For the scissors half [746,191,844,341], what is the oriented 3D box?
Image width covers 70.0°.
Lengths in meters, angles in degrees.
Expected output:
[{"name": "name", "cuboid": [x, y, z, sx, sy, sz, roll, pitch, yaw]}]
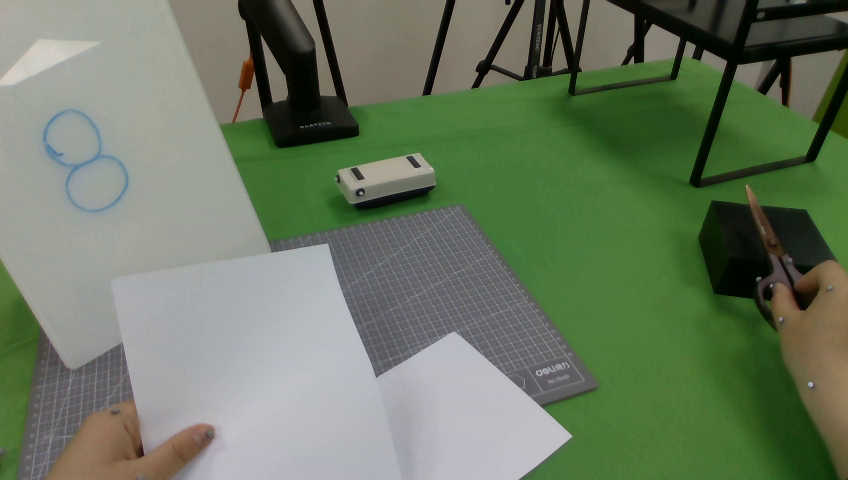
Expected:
[{"name": "scissors half", "cuboid": [0.342, 0.018, 0.569, 0.040, 0.013, 0.173, -4, 52, -6]}]

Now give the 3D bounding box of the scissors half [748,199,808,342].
[{"name": "scissors half", "cuboid": [0.322, 0.018, 0.570, 0.040, 0.013, 0.174, 6, 51, 9]}]

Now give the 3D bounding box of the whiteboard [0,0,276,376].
[{"name": "whiteboard", "cuboid": [-0.315, -0.074, 0.570, 0.143, 0.308, 0.217, 9, 33, 44]}]

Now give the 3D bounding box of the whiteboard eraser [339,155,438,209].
[{"name": "whiteboard eraser", "cuboid": [-0.044, -0.069, 0.740, 0.113, 0.042, 0.055, -14, 42, -20]}]
